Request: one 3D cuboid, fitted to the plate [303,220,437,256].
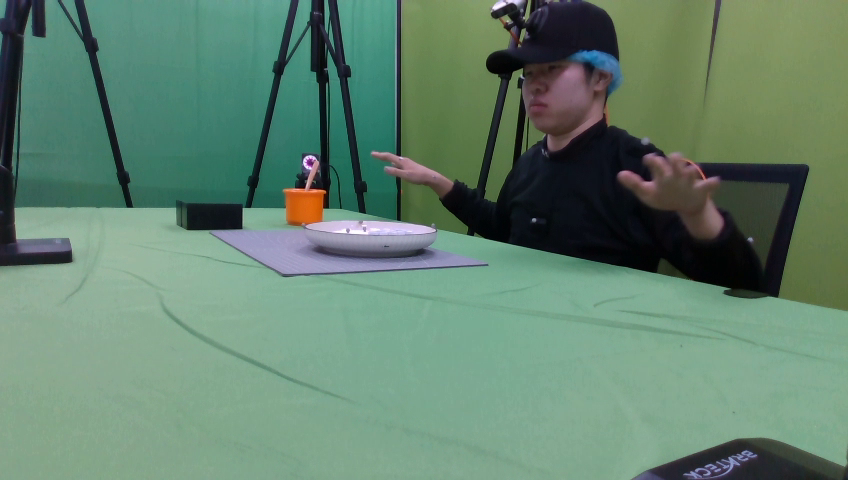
[{"bbox_3d":[-0.084,-0.003,0.951,0.209,0.038,0.209,3,7,0],"label":"plate"}]

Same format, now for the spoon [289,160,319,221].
[{"bbox_3d":[-0.259,-0.112,1.339,0.041,0.193,0.022,1,-37,11],"label":"spoon"}]

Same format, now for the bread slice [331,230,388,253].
[{"bbox_3d":[-0.088,0.000,0.947,0.105,0.019,0.131,-4,11,-44],"label":"bread slice"}]
